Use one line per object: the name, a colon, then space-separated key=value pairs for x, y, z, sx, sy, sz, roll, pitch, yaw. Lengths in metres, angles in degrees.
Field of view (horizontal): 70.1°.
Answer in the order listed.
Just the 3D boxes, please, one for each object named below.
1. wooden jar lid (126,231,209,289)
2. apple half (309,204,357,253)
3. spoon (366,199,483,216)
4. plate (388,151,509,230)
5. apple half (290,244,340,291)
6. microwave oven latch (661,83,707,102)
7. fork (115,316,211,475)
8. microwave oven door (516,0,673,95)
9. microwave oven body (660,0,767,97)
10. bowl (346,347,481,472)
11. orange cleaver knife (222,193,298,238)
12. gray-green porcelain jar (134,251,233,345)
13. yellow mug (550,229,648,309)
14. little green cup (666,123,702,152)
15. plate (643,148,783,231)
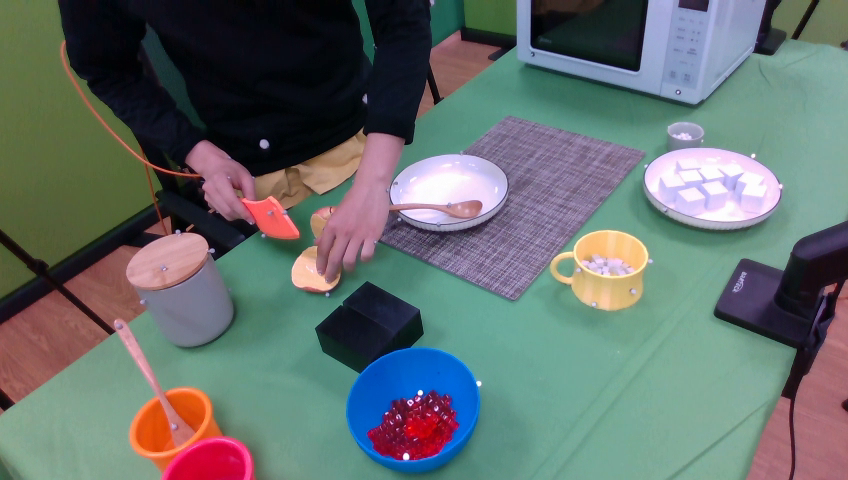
wooden jar lid: x=-0.340 y=0.030 z=0.808 sx=0.108 sy=0.021 sz=0.108 roll=-5 pitch=39 yaw=5
apple half: x=-0.140 y=-0.023 z=0.979 sx=0.080 sy=0.075 sz=0.053 roll=18 pitch=44 yaw=32
spoon: x=0.001 y=-0.056 z=0.997 sx=0.194 sy=0.022 sz=0.041 roll=1 pitch=46 yaw=-9
plate: x=0.043 y=-0.082 z=1.042 sx=0.209 sy=0.038 sz=0.208 roll=-4 pitch=40 yaw=4
apple half: x=-0.162 y=0.046 z=0.926 sx=0.081 sy=0.033 sz=0.081 roll=-2 pitch=60 yaw=5
microwave oven latch: x=0.516 y=-0.298 z=1.202 sx=0.078 sy=0.029 sz=0.030 roll=25 pitch=51 yaw=33
fork: x=-0.308 y=0.179 z=0.708 sx=0.028 sy=0.018 sz=0.207 roll=-30 pitch=89 yaw=-22
microwave oven door: x=0.344 y=-0.458 z=1.256 sx=0.353 sy=0.245 sz=0.039 roll=26 pitch=51 yaw=33
microwave oven body: x=0.473 y=-0.517 z=1.314 sx=0.438 sy=0.261 sz=0.327 roll=26 pitch=51 yaw=34
bowl: x=-0.008 y=0.205 z=0.691 sx=0.151 sy=0.077 sz=0.150 roll=-4 pitch=40 yaw=4
orange cleaver knife: x=-0.248 y=-0.039 z=0.907 sx=0.012 sy=0.077 sz=0.209 roll=-38 pitch=29 yaw=-28
gray-green porcelain jar: x=-0.334 y=0.076 z=0.849 sx=0.106 sy=0.127 sz=0.105 roll=-4 pitch=41 yaw=4
yellow mug: x=0.245 y=0.040 z=0.857 sx=0.130 sy=0.064 sz=0.099 roll=1 pitch=42 yaw=11
little green cup: x=0.472 y=-0.183 z=1.103 sx=0.061 sy=0.039 sz=0.061 roll=-5 pitch=41 yaw=5
plate: x=0.464 y=-0.079 z=0.986 sx=0.207 sy=0.039 sz=0.206 roll=-4 pitch=40 yaw=4
